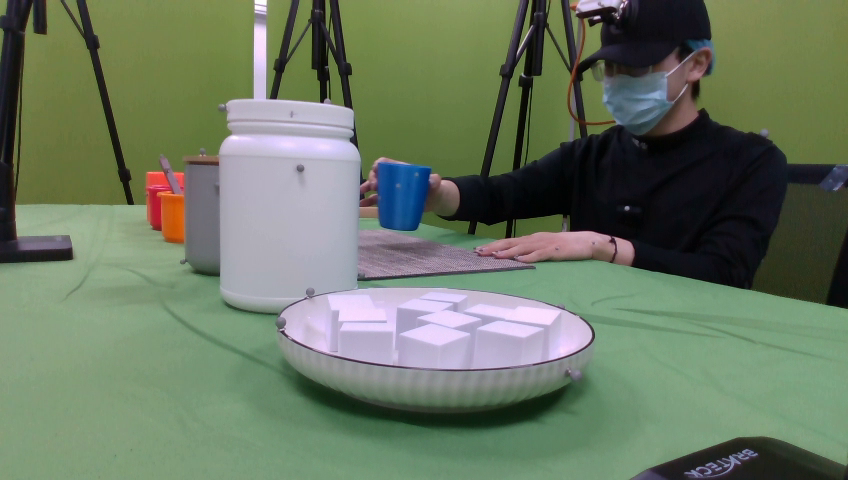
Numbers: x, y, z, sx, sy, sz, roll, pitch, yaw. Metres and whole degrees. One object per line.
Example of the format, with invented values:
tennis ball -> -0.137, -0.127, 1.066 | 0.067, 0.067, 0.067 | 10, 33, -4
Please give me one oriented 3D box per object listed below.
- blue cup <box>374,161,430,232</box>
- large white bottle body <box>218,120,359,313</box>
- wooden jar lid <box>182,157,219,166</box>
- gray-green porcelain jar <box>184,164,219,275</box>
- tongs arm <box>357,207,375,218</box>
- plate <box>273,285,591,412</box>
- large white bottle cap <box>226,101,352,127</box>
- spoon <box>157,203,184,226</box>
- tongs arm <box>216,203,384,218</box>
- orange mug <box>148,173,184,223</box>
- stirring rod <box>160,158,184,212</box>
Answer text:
blue cup -> -0.039, -0.067, 0.935 | 0.093, 0.100, 0.092 | 7, 9, -1
large white bottle body -> -0.128, -0.033, 0.578 | 0.131, 0.184, 0.130 | 2, 7, 0
wooden jar lid -> -0.227, -0.086, 0.714 | 0.108, 0.020, 0.108 | 0, 6, 0
gray-green porcelain jar -> -0.230, -0.025, 0.722 | 0.106, 0.126, 0.106 | 3, 7, 0
tongs arm -> -0.251, -0.063, 1.360 | 0.387, 0.026, 0.050 | -1, 3, -31
plate -> 0.005, 0.069, 0.408 | 0.208, 0.039, 0.207 | 2, 7, 0
large white bottle cap -> -0.125, -0.116, 0.566 | 0.115, 0.018, 0.115 | 2, 8, 0
spoon -> -0.425, -0.094, 1.117 | 0.041, 0.022, 0.194 | 5, 51, 29
tongs arm -> -0.288, -0.069, 1.435 | 0.389, 0.027, 0.028 | 0, -1, -17
orange mug -> -0.490, -0.087, 1.222 | 0.127, 0.101, 0.083 | -9, 13, -38
stirring rod -> -0.391, -0.070, 0.972 | 0.014, 0.006, 0.175 | -1, 50, -49
